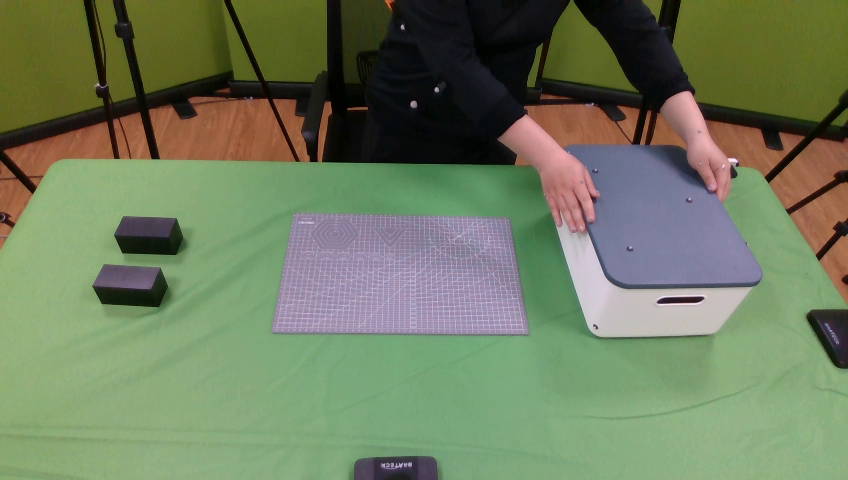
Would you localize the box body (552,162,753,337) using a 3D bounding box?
[{"bbox_3d":[0.401,-0.001,1.131,0.254,0.161,0.361,-1,46,-5],"label":"box body"}]

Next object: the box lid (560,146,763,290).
[{"bbox_3d":[0.404,-0.054,1.076,0.263,0.015,0.369,-1,45,-5],"label":"box lid"}]
